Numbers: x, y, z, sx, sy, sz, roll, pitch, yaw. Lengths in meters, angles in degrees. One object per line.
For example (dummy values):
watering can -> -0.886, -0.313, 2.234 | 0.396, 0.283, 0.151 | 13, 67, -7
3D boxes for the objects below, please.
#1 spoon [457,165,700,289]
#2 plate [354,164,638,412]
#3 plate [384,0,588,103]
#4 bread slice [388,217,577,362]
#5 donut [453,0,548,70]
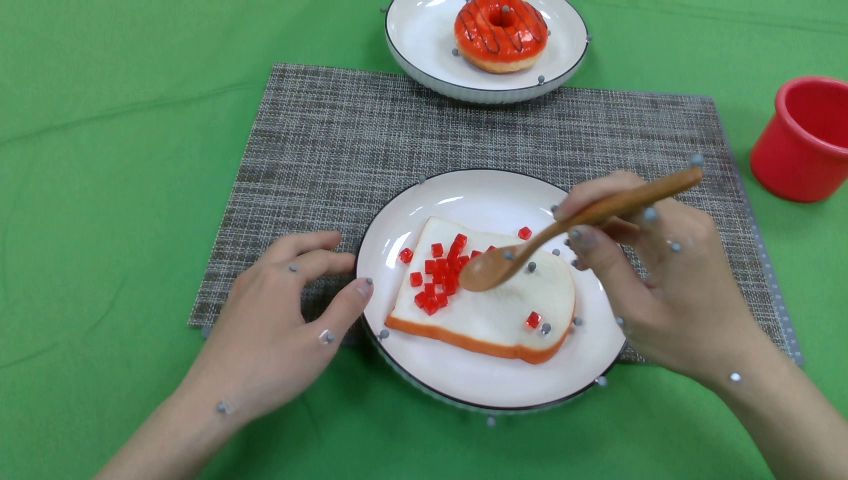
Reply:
spoon -> 0.077, -0.004, 0.357 | 0.022, 0.194, 0.041 | 40, 59, -9
plate -> 0.052, 0.031, 0.458 | 0.209, 0.038, 0.207 | 2, 55, -2
plate -> 0.063, -0.208, 0.629 | 0.208, 0.039, 0.205 | 2, 53, -3
bread slice -> 0.049, 0.035, 0.459 | 0.131, 0.019, 0.104 | 13, 55, 8
donut -> 0.078, -0.213, 0.619 | 0.099, 0.048, 0.098 | 2, 56, -3
